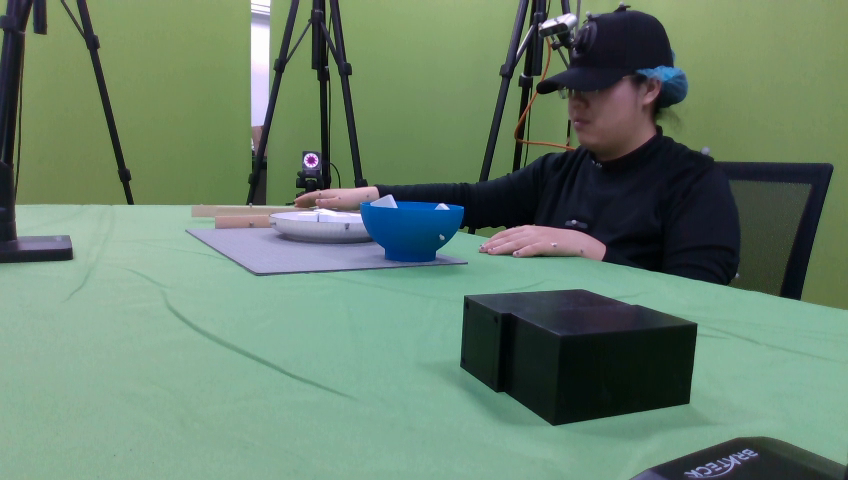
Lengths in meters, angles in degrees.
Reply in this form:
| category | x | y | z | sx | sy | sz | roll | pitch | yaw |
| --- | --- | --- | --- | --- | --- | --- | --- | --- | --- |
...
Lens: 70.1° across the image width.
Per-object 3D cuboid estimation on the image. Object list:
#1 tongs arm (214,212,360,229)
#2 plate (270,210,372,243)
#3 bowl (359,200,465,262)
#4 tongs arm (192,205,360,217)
| category | x | y | z | sx | sy | sz | roll | pitch | yaw |
| --- | --- | --- | --- | --- | --- | --- | --- | --- | --- |
| tongs arm | -0.243 | -0.043 | 1.236 | 0.390 | 0.028 | 0.028 | -4 | 8 | -44 |
| plate | -0.161 | -0.023 | 1.054 | 0.208 | 0.039 | 0.207 | 2 | 7 | 0 |
| bowl | -0.018 | -0.013 | 0.859 | 0.151 | 0.077 | 0.151 | 2 | 7 | 0 |
| tongs arm | -0.289 | -0.057 | 1.298 | 0.387 | 0.026 | 0.050 | -1 | 9 | -32 |
